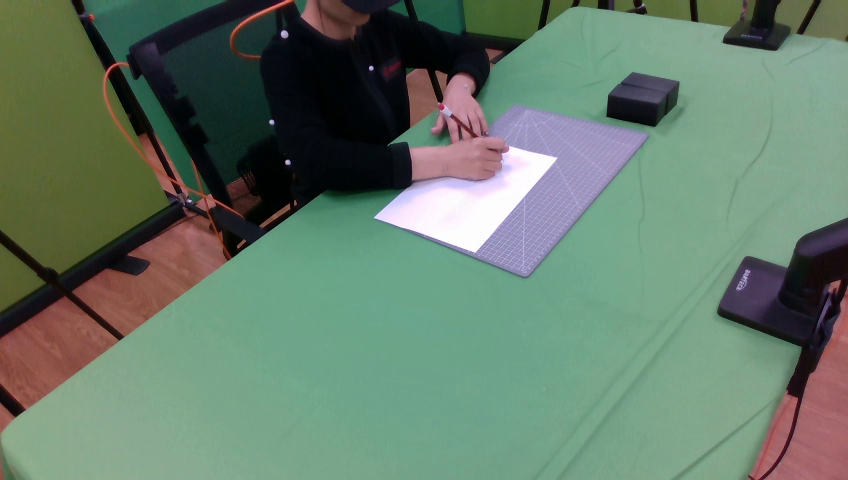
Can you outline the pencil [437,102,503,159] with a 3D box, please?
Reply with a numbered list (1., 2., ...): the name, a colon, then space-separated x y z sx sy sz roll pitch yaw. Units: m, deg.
1. pencil: 0.086 -0.191 1.079 0.012 0.196 0.012 -22 54 34
